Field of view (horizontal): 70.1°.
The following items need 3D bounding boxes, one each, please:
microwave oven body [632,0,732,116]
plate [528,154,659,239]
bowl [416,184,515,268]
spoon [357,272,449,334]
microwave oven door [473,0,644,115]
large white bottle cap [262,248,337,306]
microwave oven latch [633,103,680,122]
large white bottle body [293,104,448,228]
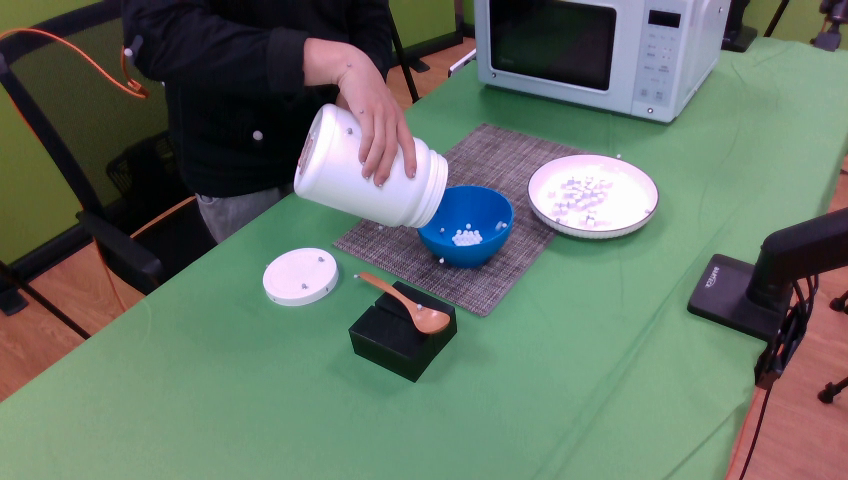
[{"bbox_3d":[0.377,-0.463,1.267,0.438,0.261,0.327,21,49,30],"label":"microwave oven body"},{"bbox_3d":[0.274,-0.069,0.993,0.209,0.038,0.208,-2,43,2],"label":"plate"},{"bbox_3d":[0.063,-0.011,0.922,0.151,0.077,0.150,-4,40,4],"label":"bowl"},{"bbox_3d":[-0.034,0.078,0.812,0.042,0.022,0.192,-34,42,-24],"label":"spoon"},{"bbox_3d":[0.257,-0.396,1.199,0.353,0.245,0.039,21,48,29],"label":"microwave oven door"},{"bbox_3d":[-0.193,0.056,0.934,0.115,0.018,0.114,-4,41,4],"label":"large white bottle cap"},{"bbox_3d":[0.443,-0.249,1.157,0.078,0.029,0.030,21,49,30],"label":"microwave oven latch"},{"bbox_3d":[-0.072,-0.094,0.829,0.186,0.130,0.130,18,36,-20],"label":"large white bottle body"}]
